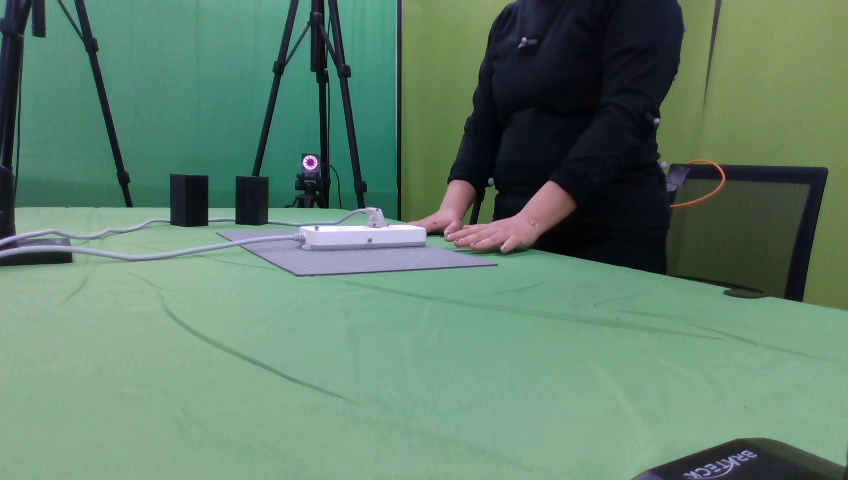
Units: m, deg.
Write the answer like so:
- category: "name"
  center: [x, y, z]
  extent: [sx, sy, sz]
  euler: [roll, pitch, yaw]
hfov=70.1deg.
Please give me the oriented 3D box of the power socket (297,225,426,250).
- category: "power socket"
  center: [-0.099, -0.006, 0.992]
  extent: [0.228, 0.032, 0.072]
  euler: [-2, 8, -31]

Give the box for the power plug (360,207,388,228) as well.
- category: "power plug"
  center: [-0.085, -0.029, 1.032]
  extent: [0.035, 0.052, 0.072]
  euler: [1, 6, -21]
